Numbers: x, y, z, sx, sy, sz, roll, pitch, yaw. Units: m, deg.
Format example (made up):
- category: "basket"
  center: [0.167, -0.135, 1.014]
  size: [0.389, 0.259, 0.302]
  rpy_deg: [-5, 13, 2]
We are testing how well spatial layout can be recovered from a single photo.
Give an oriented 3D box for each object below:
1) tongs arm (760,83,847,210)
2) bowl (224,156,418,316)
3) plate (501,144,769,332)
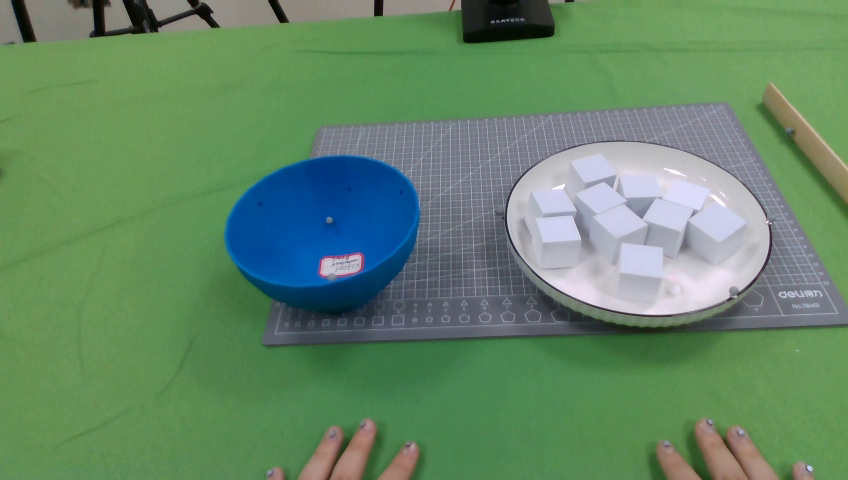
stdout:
- category: "tongs arm"
  center: [0.384, -0.024, 0.511]
  size: [0.028, 0.028, 0.383]
  rpy_deg: [-6, 45, -2]
- category: "bowl"
  center: [-0.075, 0.008, 0.491]
  size: [0.151, 0.077, 0.150]
  rpy_deg: [-3, 45, 3]
- category: "plate"
  center: [0.168, -0.004, 0.504]
  size: [0.207, 0.039, 0.205]
  rpy_deg: [-3, 45, 3]
